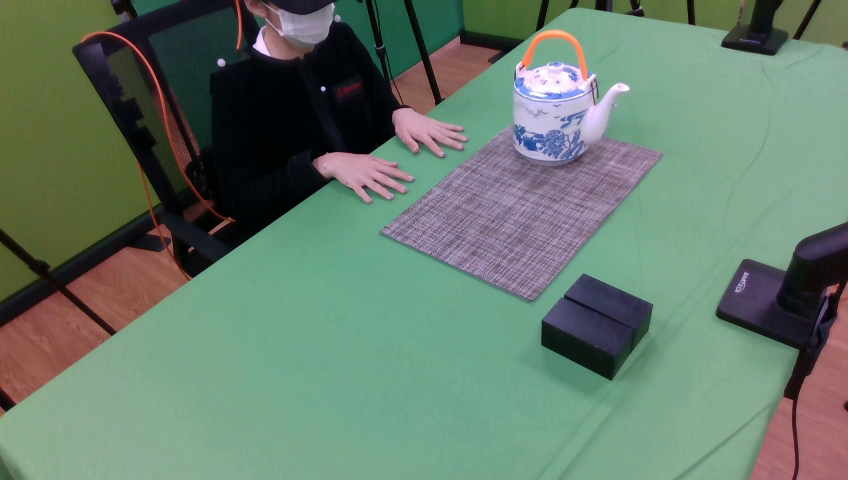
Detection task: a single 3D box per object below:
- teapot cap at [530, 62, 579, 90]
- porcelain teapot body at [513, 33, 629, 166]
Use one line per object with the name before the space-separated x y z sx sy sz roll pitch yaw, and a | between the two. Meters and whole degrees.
teapot cap | 0.228 -0.286 1.054 0.085 0.044 0.085 -3 40 3
porcelain teapot body | 0.256 -0.248 1.065 0.204 0.226 0.145 19 47 28
